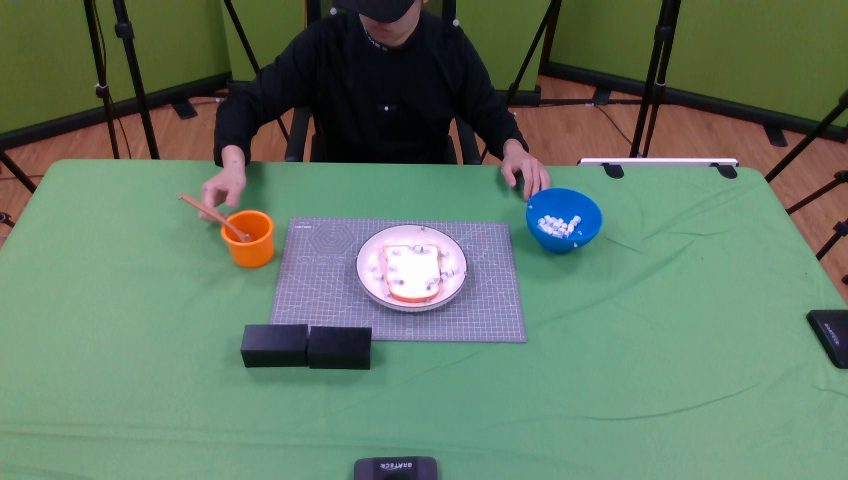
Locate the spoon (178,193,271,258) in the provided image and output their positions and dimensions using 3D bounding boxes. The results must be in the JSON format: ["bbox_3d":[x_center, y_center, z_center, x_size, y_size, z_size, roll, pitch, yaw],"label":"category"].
[{"bbox_3d":[-0.362,-0.028,1.109,0.195,0.021,0.041,42,35,-27],"label":"spoon"}]

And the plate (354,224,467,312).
[{"bbox_3d":[-0.025,0.055,1.128,0.209,0.038,0.208,3,46,-3],"label":"plate"}]

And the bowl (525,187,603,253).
[{"bbox_3d":[0.271,-0.028,1.206,0.151,0.077,0.150,2,46,-2],"label":"bowl"}]

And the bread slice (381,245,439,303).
[{"bbox_3d":[-0.022,0.061,1.126,0.107,0.018,0.133,-3,45,-8],"label":"bread slice"}]
